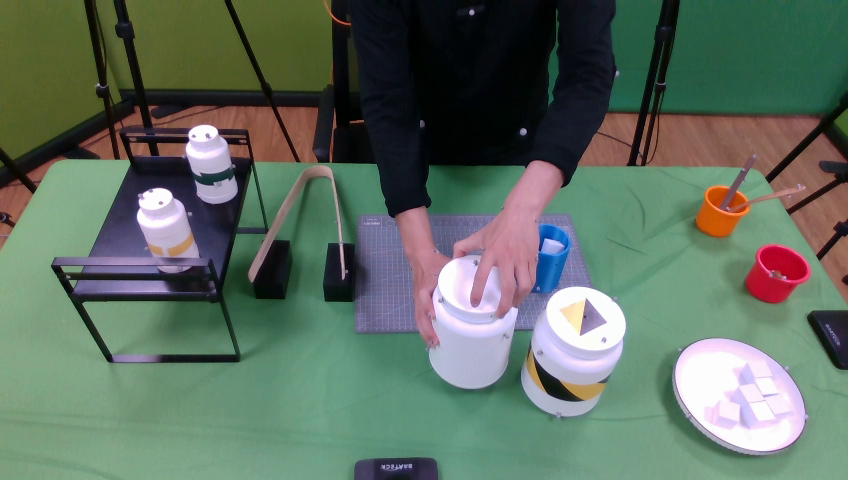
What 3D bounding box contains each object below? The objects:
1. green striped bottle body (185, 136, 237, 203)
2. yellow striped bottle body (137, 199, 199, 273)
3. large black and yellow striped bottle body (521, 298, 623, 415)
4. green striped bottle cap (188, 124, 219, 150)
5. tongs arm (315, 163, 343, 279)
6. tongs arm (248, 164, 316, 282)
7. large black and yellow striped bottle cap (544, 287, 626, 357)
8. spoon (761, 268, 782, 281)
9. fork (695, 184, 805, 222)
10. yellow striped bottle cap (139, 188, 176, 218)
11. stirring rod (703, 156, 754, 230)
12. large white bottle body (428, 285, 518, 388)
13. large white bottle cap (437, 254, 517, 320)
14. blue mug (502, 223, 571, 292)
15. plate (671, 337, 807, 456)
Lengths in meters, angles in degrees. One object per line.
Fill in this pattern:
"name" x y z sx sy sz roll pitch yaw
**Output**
"green striped bottle body" -0.341 -0.121 0.968 0.063 0.120 0.063 2 46 -2
"yellow striped bottle body" -0.366 -0.014 0.863 0.063 0.121 0.062 2 46 -2
"large black and yellow striped bottle body" 0.228 0.173 0.938 0.131 0.185 0.130 2 46 -2
"green striped bottle cap" -0.339 -0.158 0.931 0.044 0.020 0.044 3 47 -3
"tongs arm" -0.187 -0.049 1.170 0.051 0.026 0.382 -5 35 -6
"tongs arm" -0.269 -0.048 1.166 0.028 0.028 0.385 -1 34 7
"large black and yellow striped bottle cap" 0.232 0.116 0.876 0.115 0.019 0.114 2 46 -2
"spoon" 0.638 0.060 1.105 0.041 0.021 0.194 38 11 24
"fork" 0.657 -0.075 1.230 0.207 0.019 0.028 -23 34 37
"yellow striped bottle cap" -0.363 -0.051 0.826 0.044 0.019 0.044 1 48 0
"stirring rod" 0.632 -0.098 1.258 0.014 0.006 0.176 33 95 29
"large white bottle body" 0.074 0.127 0.935 0.130 0.185 0.130 1 44 -1
"large white bottle cap" 0.076 0.066 0.876 0.115 0.018 0.114 1 44 -1
"blue mug" 0.203 0.031 1.121 0.116 0.106 0.082 5 47 1
"plate" 0.504 0.253 0.984 0.208 0.039 0.206 2 46 -2
